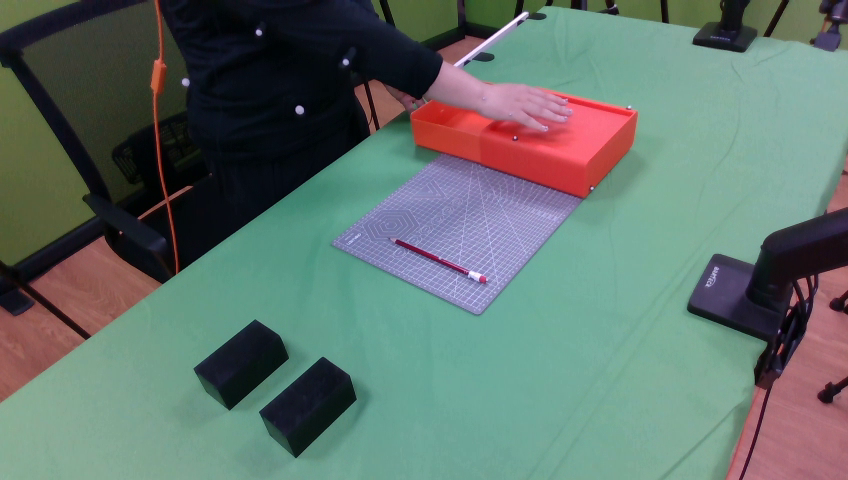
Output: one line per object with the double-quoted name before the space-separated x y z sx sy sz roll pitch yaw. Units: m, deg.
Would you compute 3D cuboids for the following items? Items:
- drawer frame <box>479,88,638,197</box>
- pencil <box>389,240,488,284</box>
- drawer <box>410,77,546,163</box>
"drawer frame" 0.243 -0.184 1.100 0.212 0.083 0.202 23 48 30
"pencil" 0.018 0.030 0.938 0.192 0.012 0.012 22 48 33
"drawer" 0.114 -0.236 1.186 0.210 0.073 0.195 21 46 32
